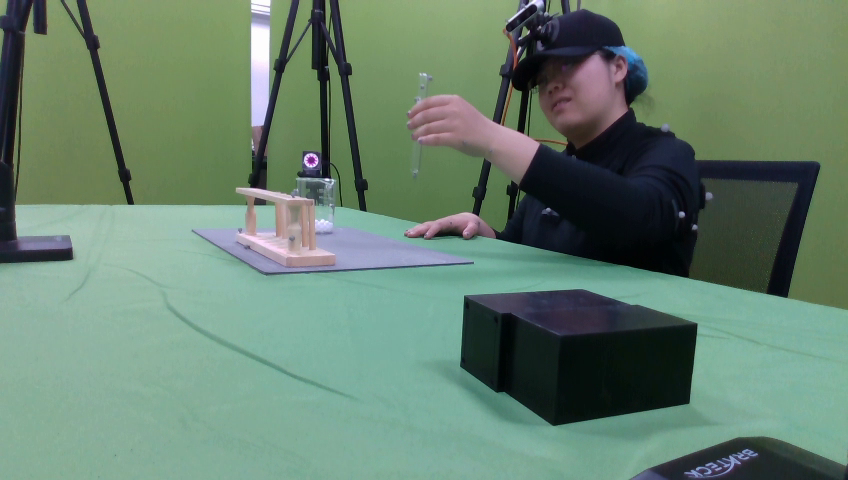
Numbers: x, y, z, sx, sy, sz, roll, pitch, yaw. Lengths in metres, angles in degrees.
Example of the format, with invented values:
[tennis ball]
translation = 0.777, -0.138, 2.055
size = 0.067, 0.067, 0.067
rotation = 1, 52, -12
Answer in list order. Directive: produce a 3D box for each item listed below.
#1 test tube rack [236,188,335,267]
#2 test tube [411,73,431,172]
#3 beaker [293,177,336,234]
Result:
[test tube rack]
translation = -0.202, -0.024, 0.855
size = 0.067, 0.085, 0.241
rotation = -2, 9, -31
[test tube]
translation = -0.006, -0.179, 0.927
size = 0.017, 0.150, 0.017
rotation = 6, 10, -1
[beaker]
translation = -0.198, -0.063, 1.107
size = 0.083, 0.100, 0.074
rotation = 10, 11, 40
